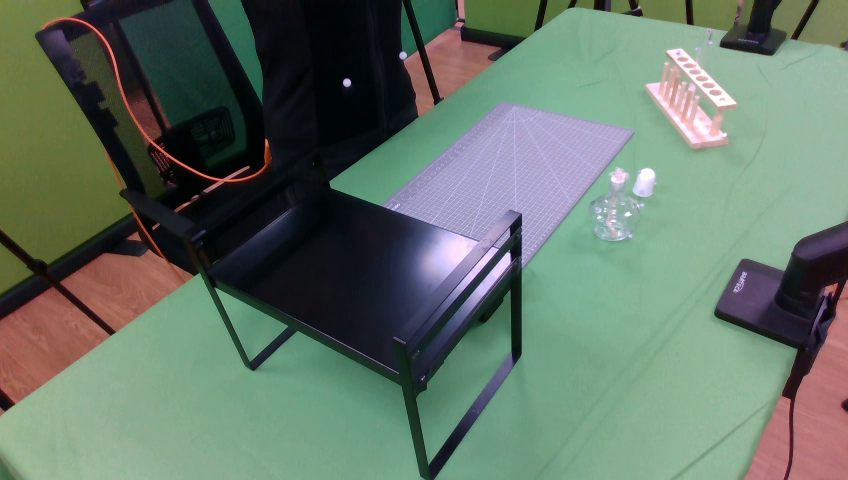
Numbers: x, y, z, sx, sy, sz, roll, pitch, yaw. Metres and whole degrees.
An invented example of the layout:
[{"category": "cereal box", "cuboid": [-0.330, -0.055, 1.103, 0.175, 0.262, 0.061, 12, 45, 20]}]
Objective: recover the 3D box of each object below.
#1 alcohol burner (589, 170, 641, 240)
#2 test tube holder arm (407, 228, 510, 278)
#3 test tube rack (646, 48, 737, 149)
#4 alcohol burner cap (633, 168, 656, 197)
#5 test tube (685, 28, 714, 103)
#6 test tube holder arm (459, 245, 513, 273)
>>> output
[{"category": "alcohol burner", "cuboid": [0.295, -0.058, 0.930, 0.078, 0.119, 0.077, -3, 41, 3]}, {"category": "test tube holder arm", "cuboid": [0.046, 0.017, 0.877, 0.177, 0.015, 0.013, 21, 64, 30]}, {"category": "test tube rack", "cuboid": [0.511, -0.280, 1.175, 0.067, 0.085, 0.241, -8, 41, 1]}, {"category": "alcohol burner cap", "cuboid": [0.374, -0.099, 1.018, 0.034, 0.048, 0.033, 0, 41, 1]}, {"category": "test tube", "cuboid": [0.524, -0.328, 1.152, 0.017, 0.151, 0.017, -1, 42, 1]}, {"category": "test tube holder arm", "cuboid": [0.085, 0.027, 0.857, 0.087, 0.015, 0.010, 21, 64, 30]}]
